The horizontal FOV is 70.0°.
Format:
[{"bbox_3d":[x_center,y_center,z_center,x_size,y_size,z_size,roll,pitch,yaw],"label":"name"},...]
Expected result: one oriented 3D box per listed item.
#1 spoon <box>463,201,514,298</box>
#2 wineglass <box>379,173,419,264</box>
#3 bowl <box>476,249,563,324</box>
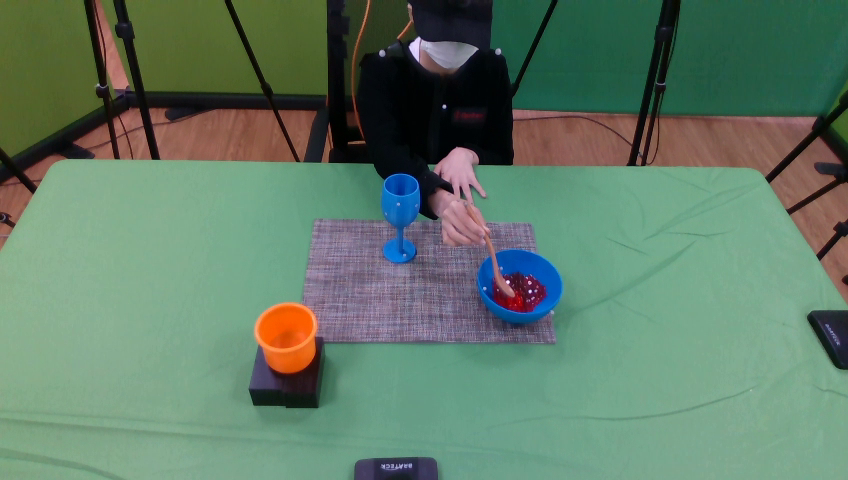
[{"bbox_3d":[0.111,0.017,1.040,0.021,0.194,0.041,-18,15,20],"label":"spoon"},{"bbox_3d":[-0.046,-0.037,1.120,0.074,0.173,0.073,2,46,-2],"label":"wineglass"},{"bbox_3d":[0.164,0.096,1.073,0.151,0.077,0.150,2,46,-2],"label":"bowl"}]
